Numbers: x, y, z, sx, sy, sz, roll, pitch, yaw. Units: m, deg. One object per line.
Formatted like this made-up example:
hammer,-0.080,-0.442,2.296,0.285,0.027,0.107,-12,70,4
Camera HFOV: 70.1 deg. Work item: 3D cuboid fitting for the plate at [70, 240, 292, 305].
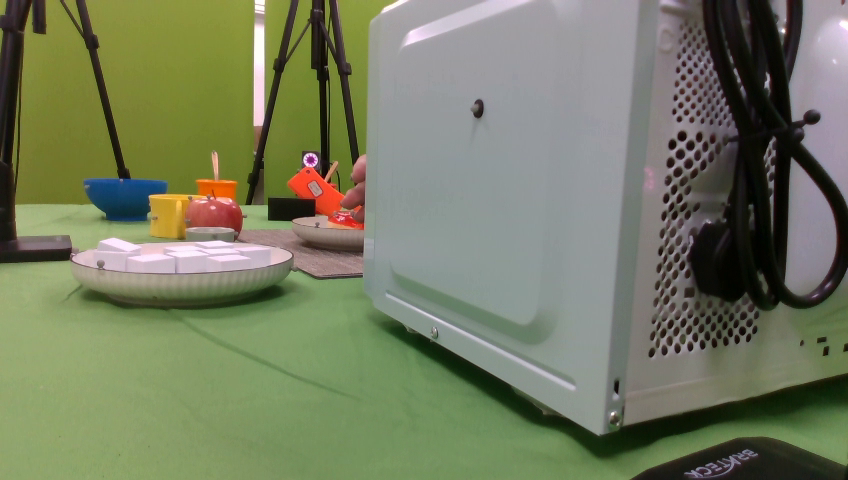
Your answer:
plate,-0.242,0.031,0.618,0.208,0.039,0.207,2,8,0

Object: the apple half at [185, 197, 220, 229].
apple half,-0.338,-0.031,0.927,0.032,0.081,0.081,12,12,31

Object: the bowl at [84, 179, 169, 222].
bowl,-0.584,-0.078,1.194,0.151,0.077,0.151,3,8,0

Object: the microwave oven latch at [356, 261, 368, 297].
microwave oven latch,-0.020,0.033,0.531,0.079,0.029,0.030,-1,7,-28

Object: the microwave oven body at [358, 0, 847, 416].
microwave oven body,0.210,-0.047,0.474,0.444,0.260,0.324,-1,7,-28

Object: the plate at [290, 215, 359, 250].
plate,-0.110,-0.014,0.973,0.209,0.038,0.209,3,8,0

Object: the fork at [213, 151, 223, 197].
fork,-0.493,-0.143,1.442,0.028,0.018,0.206,-3,52,-18

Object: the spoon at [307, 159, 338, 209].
spoon,-0.257,-0.147,1.567,0.041,0.022,0.193,1,51,20

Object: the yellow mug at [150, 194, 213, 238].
yellow mug,-0.401,-0.040,1.003,0.100,0.064,0.130,-1,9,-20

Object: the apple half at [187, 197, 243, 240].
apple half,-0.305,-0.026,0.907,0.053,0.074,0.081,12,8,31

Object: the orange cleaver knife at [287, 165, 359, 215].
orange cleaver knife,-0.211,-0.092,1.382,0.212,0.077,0.012,34,1,-15

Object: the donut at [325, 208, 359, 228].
donut,-0.110,-0.025,0.974,0.099,0.048,0.099,4,8,0

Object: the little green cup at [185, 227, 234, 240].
little green cup,-0.285,0.005,0.805,0.061,0.038,0.061,2,8,0

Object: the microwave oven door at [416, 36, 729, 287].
microwave oven door,0.170,-0.076,0.647,0.357,0.243,0.039,0,8,-19
